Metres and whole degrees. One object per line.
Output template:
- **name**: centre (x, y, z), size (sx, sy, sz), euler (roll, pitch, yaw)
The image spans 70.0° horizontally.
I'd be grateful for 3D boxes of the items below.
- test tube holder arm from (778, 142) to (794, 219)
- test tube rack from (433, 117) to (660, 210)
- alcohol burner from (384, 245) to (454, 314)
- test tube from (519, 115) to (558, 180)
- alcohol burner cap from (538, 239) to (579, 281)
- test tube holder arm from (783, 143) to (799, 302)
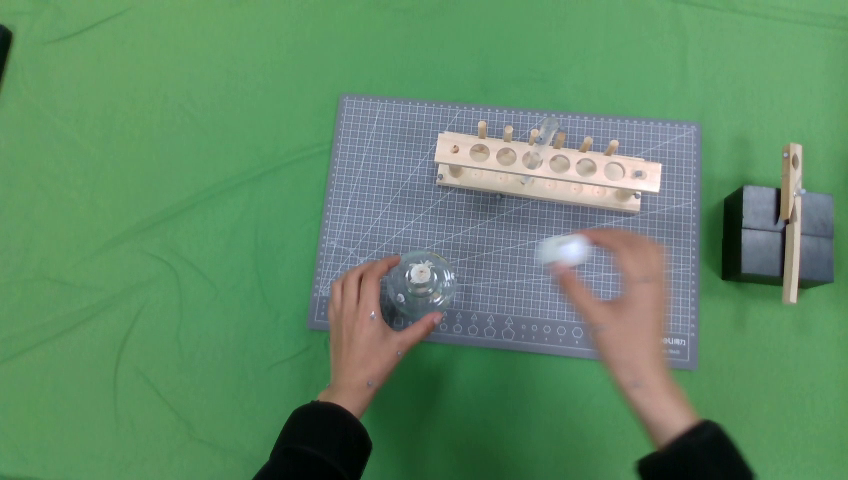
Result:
- **test tube holder arm**: centre (0.402, -0.066, 0.672), size (0.010, 0.015, 0.087), euler (7, 79, -4)
- **test tube rack**: centre (0.136, -0.094, 0.697), size (0.242, 0.085, 0.066), euler (9, 78, 3)
- **alcohol burner**: centre (-0.006, 0.040, 0.659), size (0.078, 0.119, 0.077), euler (0, 77, 0)
- **test tube**: centre (0.120, -0.095, 0.646), size (0.017, 0.151, 0.017), euler (0, 76, 0)
- **alcohol burner cap**: centre (0.120, 0.016, 0.536), size (0.034, 0.048, 0.033), euler (-1, 76, 3)
- **test tube holder arm**: centre (0.402, -0.021, 0.664), size (0.013, 0.015, 0.177), euler (7, 79, -4)
